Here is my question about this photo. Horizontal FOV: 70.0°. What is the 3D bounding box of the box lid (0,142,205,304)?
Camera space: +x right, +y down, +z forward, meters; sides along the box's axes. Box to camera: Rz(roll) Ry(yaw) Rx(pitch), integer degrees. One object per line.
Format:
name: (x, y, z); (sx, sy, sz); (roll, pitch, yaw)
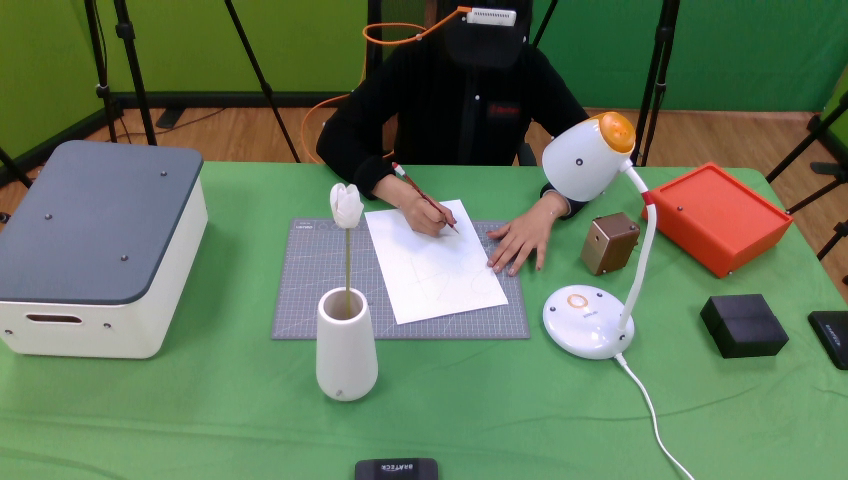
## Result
box lid: (-0.534, -0.044, 0.995); (0.263, 0.015, 0.369); (3, 45, -3)

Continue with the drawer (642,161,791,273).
drawer: (0.596, -0.051, 1.246); (0.194, 0.073, 0.210); (-23, 52, -25)

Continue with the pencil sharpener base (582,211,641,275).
pencil sharpener base: (0.357, 0.005, 1.156); (0.077, 0.107, 0.061); (-15, 48, -18)

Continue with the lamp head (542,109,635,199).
lamp head: (0.253, -0.131, 0.893); (0.113, 0.123, 0.112); (10, 66, -24)

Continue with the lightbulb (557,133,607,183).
lightbulb: (0.243, -0.127, 0.917); (0.059, 0.108, 0.059); (6, 67, -14)

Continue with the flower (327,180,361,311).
flower: (-0.110, 0.087, 0.867); (0.044, 0.363, 0.038); (22, 33, 36)

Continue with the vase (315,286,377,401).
vase: (-0.119, 0.159, 0.911); (0.098, 0.201, 0.097); (2, 47, -2)

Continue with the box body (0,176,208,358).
box body: (-0.546, 0.017, 1.045); (0.254, 0.161, 0.361); (2, 46, -2)

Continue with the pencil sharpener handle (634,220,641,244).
pencil sharpener handle: (0.405, -0.015, 1.162); (0.031, 0.068, 0.035); (-15, 45, -18)

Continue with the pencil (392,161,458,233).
pencil: (0.004, -0.082, 1.194); (0.194, 0.012, 0.012); (47, 48, -15)

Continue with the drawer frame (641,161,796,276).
drawer frame: (0.599, -0.051, 1.244); (0.202, 0.083, 0.212); (-24, 53, -25)

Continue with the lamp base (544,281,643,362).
lamp base: (0.303, 0.095, 1.014); (0.161, 0.181, 0.178); (-24, 54, -24)
